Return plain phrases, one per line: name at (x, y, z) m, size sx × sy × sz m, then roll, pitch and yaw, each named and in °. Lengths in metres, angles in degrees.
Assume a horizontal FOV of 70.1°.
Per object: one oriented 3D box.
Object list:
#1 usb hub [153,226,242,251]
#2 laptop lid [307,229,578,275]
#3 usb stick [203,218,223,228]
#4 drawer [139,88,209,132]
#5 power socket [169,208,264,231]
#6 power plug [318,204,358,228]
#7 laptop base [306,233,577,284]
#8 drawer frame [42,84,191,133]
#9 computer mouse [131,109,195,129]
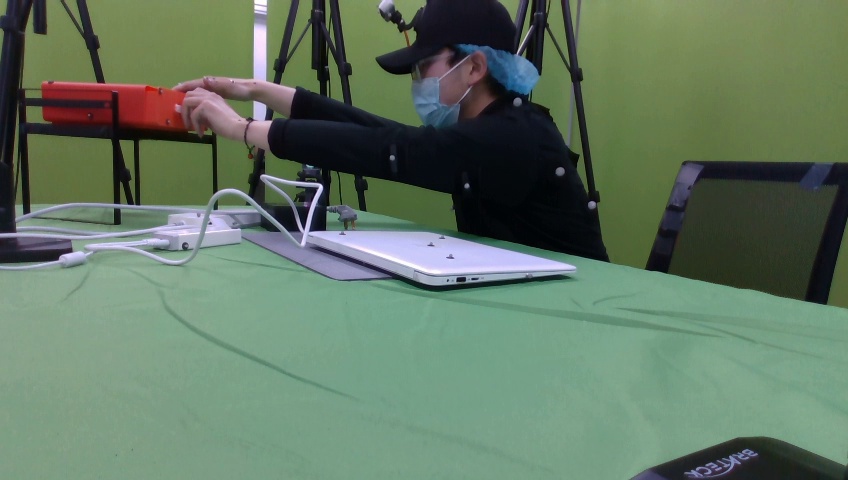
usb hub at (-0.337, -0.003, 0.907) m, size 0.049 × 0.025 × 0.125 m, roll 6°, pitch 9°, yaw 28°
laptop lid at (0.009, 0.010, 0.850) m, size 0.243 × 0.013 × 0.355 m, roll 0°, pitch 8°, yaw -32°
usb stick at (-0.346, -0.018, 1.009) m, size 0.027 × 0.021 × 0.059 m, roll 45°, pitch -7°, yaw 1°
drawer at (-0.577, -0.262, 1.222) m, size 0.211 × 0.073 × 0.194 m, roll 3°, pitch 8°, yaw 7°
power socket at (-0.381, -0.038, 1.128) m, size 0.072 × 0.032 × 0.227 m, roll 4°, pitch 8°, yaw 16°
power plug at (-0.169, -0.045, 1.206) m, size 0.072 × 0.052 × 0.035 m, roll -9°, pitch -11°, yaw -1°
laptop base at (0.007, 0.022, 0.850) m, size 0.237 × 0.023 × 0.352 m, roll 1°, pitch 7°, yaw -34°
drawer frame at (-0.602, -0.264, 1.224) m, size 0.213 × 0.082 × 0.202 m, roll 2°, pitch 8°, yaw 5°
computer mouse at (-0.534, -0.246, 1.237) m, size 0.118 × 0.041 × 0.062 m, roll -13°, pitch 15°, yaw -44°
